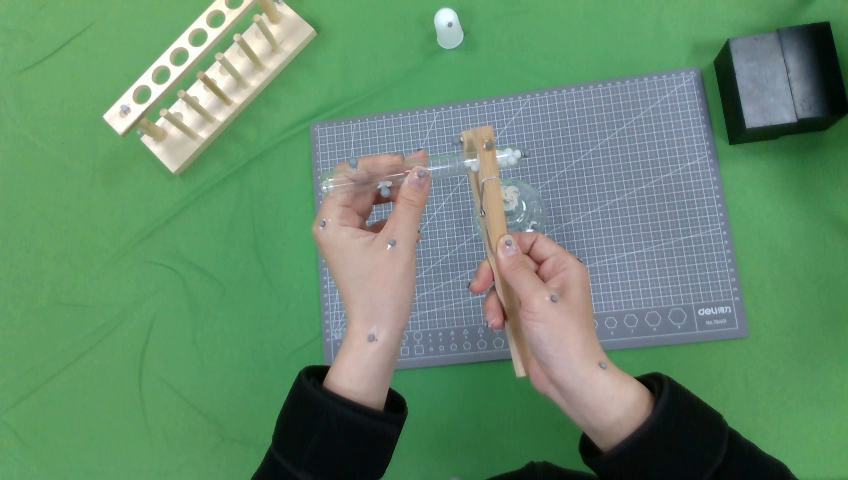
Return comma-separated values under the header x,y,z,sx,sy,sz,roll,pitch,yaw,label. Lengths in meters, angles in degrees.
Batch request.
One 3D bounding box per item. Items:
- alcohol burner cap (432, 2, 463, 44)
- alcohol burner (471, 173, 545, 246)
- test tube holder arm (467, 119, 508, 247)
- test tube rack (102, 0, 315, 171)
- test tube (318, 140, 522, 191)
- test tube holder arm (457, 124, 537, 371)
x,y,z,sx,sy,sz,roll,pitch,yaw,label
0.026,-0.254,0.700,0.034,0.048,0.033,-2,75,10,alcohol burner cap
0.085,-0.035,0.619,0.078,0.120,0.077,-2,78,9,alcohol burner
0.045,-0.039,0.419,0.015,0.010,0.088,-14,102,-21,test tube holder arm
-0.245,-0.200,0.706,0.066,0.085,0.242,43,89,12,test tube rack
0.003,-0.051,0.404,0.151,0.017,0.017,-12,77,-25,test tube
0.052,0.005,0.428,0.015,0.013,0.178,-14,92,-20,test tube holder arm
